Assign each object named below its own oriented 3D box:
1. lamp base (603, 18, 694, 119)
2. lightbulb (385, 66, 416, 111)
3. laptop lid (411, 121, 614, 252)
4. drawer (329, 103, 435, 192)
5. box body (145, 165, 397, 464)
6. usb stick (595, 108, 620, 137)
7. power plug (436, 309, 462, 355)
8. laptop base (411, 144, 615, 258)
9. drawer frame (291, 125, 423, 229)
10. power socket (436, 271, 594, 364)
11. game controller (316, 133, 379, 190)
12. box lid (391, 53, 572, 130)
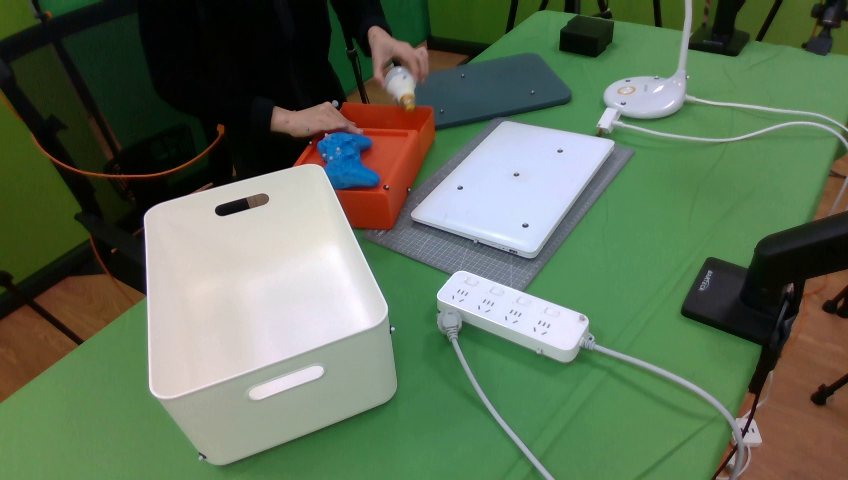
[{"bbox_3d":[0.460,-0.355,1.205,0.179,0.181,0.160,2,41,7],"label":"lamp base"},{"bbox_3d":[-0.038,-0.285,1.148,0.060,0.060,0.107,-13,56,-8],"label":"lightbulb"},{"bbox_3d":[0.164,-0.112,1.068,0.240,0.013,0.357,19,46,30],"label":"laptop lid"},{"bbox_3d":[-0.098,-0.181,1.161,0.194,0.073,0.211,6,42,14],"label":"drawer"},{"bbox_3d":[-0.205,0.080,0.802,0.255,0.161,0.361,-18,41,-13],"label":"box body"},{"bbox_3d":[0.355,-0.225,1.175,0.027,0.022,0.059,29,85,40],"label":"usb stick"},{"bbox_3d":[0.032,0.126,0.809,0.035,0.053,0.072,3,59,7],"label":"power plug"},{"bbox_3d":[0.167,-0.102,1.074,0.234,0.023,0.355,16,45,30],"label":"laptop base"},{"bbox_3d":[-0.124,-0.119,1.085,0.201,0.083,0.213,5,41,13],"label":"drawer frame"},{"bbox_3d":[0.118,0.102,0.830,0.225,0.033,0.072,20,48,28],"label":"power socket"},{"bbox_3d":[-0.134,-0.139,1.031,0.097,0.052,0.154,-13,38,-1],"label":"game controller"},{"bbox_3d":[0.122,-0.339,1.366,0.372,0.015,0.261,-12,40,-5],"label":"box lid"}]
